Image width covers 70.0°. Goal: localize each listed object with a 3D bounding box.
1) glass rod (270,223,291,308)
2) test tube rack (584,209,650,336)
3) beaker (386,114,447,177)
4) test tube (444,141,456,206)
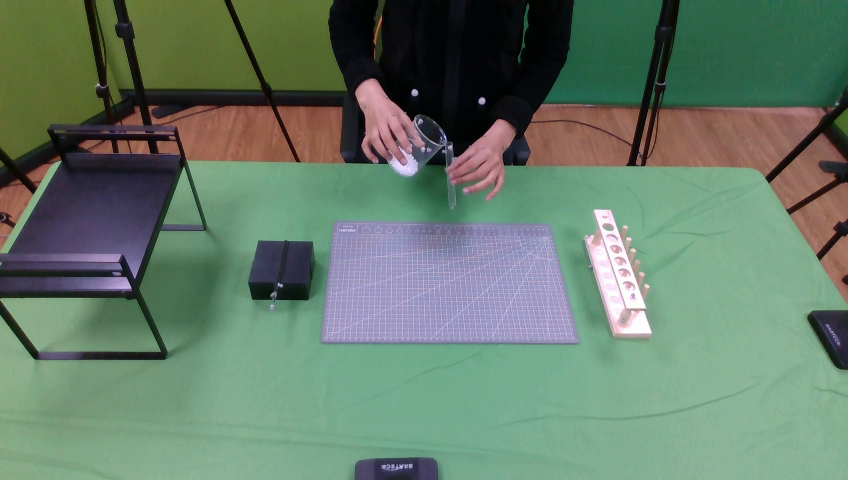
[{"bbox_3d":[-0.255,0.041,1.082,0.008,0.008,0.198,2,46,-2],"label":"glass rod"},{"bbox_3d":[0.365,0.056,1.129,0.067,0.085,0.240,1,46,-4],"label":"test tube rack"},{"bbox_3d":[-0.016,-0.171,1.119,0.084,0.100,0.073,16,44,-37],"label":"beaker"},{"bbox_3d":[0.051,-0.125,1.172,0.017,0.151,0.017,-3,42,3],"label":"test tube"}]
